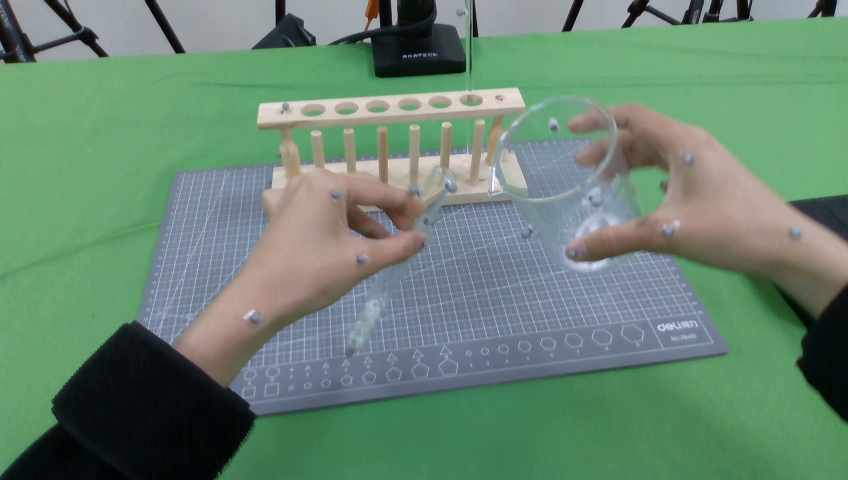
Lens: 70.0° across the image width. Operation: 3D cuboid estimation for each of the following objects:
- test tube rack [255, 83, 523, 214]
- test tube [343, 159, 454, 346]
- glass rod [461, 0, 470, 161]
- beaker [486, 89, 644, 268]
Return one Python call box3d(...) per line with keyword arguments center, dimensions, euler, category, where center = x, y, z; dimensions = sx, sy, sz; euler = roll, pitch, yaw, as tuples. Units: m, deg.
box3d(center=(-0.029, -0.087, 0.573), dimensions=(0.243, 0.086, 0.066), euler=(-5, 44, -5), category="test tube rack")
box3d(center=(-0.020, 0.013, 0.397), dimensions=(0.017, 0.151, 0.017), euler=(23, 26, -12), category="test tube")
box3d(center=(0.038, -0.161, 0.555), dimensions=(0.008, 0.201, 0.008), euler=(-1, 37, 1), category="glass rod")
box3d(center=(0.092, -0.031, 0.383), dimensions=(0.084, 0.101, 0.073), euler=(-32, 49, 10), category="beaker")
